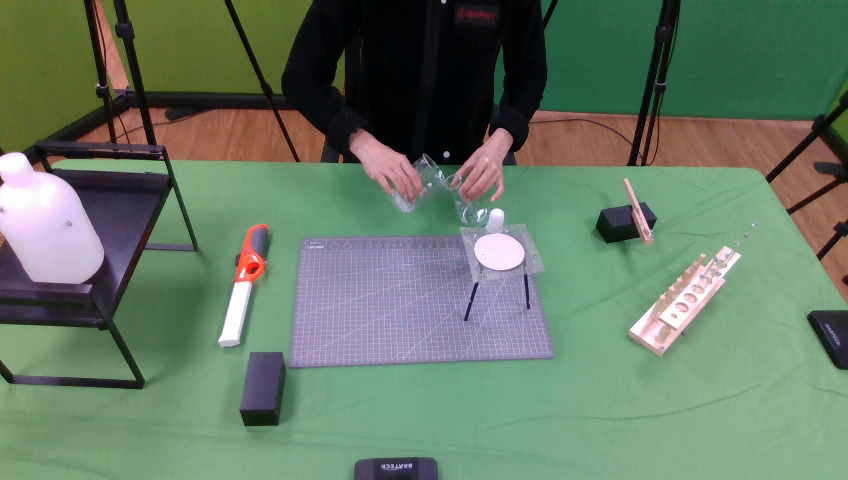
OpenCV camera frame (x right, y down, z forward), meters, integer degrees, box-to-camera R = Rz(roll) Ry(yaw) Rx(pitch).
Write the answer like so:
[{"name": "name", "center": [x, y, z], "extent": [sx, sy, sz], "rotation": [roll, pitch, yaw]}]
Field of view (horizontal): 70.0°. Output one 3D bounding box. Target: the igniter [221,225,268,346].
[{"name": "igniter", "center": [-0.323, 0.072, 1.100], "extent": [0.057, 0.025, 0.274], "rotation": [-6, 45, 5]}]

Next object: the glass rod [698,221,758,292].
[{"name": "glass rod", "center": [0.527, 0.035, 1.059], "extent": [0.008, 0.200, 0.008], "rotation": [5, 49, -6]}]

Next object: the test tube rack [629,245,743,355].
[{"name": "test tube rack", "center": [0.474, 0.095, 1.091], "extent": [0.242, 0.085, 0.066], "rotation": [-34, 56, -31]}]

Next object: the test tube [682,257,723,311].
[{"name": "test tube", "center": [0.475, 0.080, 1.038], "extent": [0.017, 0.151, 0.017], "rotation": [1, 50, -1]}]

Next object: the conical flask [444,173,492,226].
[{"name": "conical flask", "center": [0.082, -0.085, 1.205], "extent": [0.075, 0.122, 0.075], "rotation": [-14, 56, 23]}]

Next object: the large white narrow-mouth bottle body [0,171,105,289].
[{"name": "large white narrow-mouth bottle body", "center": [-0.513, -0.029, 0.818], "extent": [0.102, 0.195, 0.101], "rotation": [2, 46, -2]}]

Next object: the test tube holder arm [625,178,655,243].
[{"name": "test tube holder arm", "center": [0.433, -0.062, 1.220], "extent": [0.013, 0.015, 0.177], "rotation": [1, 47, -3]}]

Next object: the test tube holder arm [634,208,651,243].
[{"name": "test tube holder arm", "center": [0.428, -0.030, 1.189], "extent": [0.010, 0.015, 0.087], "rotation": [1, 47, -2]}]

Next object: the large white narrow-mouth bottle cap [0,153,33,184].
[{"name": "large white narrow-mouth bottle cap", "center": [-0.510, -0.089, 0.754], "extent": [0.038, 0.024, 0.037], "rotation": [2, 46, -2]}]

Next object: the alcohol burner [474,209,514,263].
[{"name": "alcohol burner", "center": [0.134, -0.013, 1.150], "extent": [0.078, 0.120, 0.077], "rotation": [0, 47, 0]}]

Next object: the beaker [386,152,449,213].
[{"name": "beaker", "center": [-0.013, -0.103, 1.131], "extent": [0.100, 0.084, 0.073], "rotation": [-37, 50, 14]}]

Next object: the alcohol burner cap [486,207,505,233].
[{"name": "alcohol burner cap", "center": [0.135, -0.039, 1.125], "extent": [0.034, 0.048, 0.033], "rotation": [4, 42, -4]}]

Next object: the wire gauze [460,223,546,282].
[{"name": "wire gauze", "center": [0.131, 0.016, 1.015], "extent": [0.121, 0.011, 0.124], "rotation": [-5, 45, -8]}]

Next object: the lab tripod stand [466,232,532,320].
[{"name": "lab tripod stand", "center": [0.125, 0.059, 1.065], "extent": [0.148, 0.132, 0.147], "rotation": [1, 45, 0]}]
